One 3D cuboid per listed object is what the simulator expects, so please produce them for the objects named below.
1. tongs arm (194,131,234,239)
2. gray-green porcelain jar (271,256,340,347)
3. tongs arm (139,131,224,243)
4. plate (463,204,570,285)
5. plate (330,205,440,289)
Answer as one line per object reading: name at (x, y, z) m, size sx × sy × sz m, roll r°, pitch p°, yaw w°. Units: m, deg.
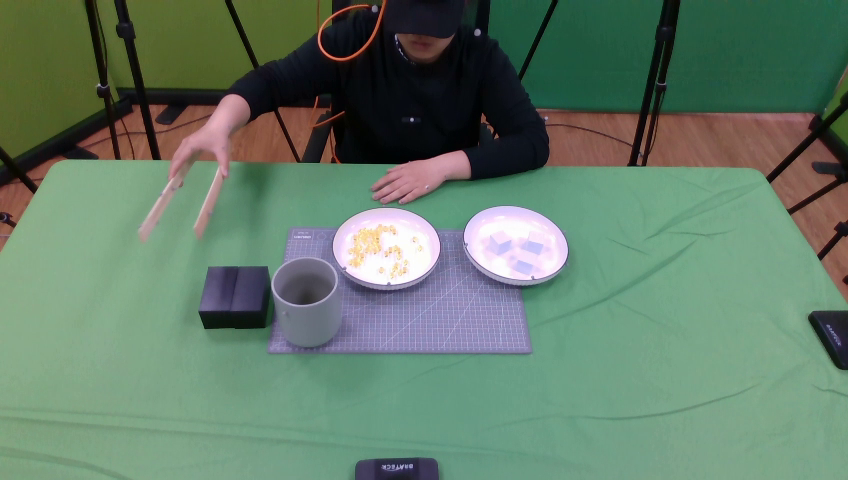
tongs arm at (-0.396, -0.117, 1.146) m, size 0.028 × 0.028 × 0.385 m, roll -11°, pitch 35°, yaw -1°
gray-green porcelain jar at (-0.193, 0.107, 1.004) m, size 0.106 × 0.127 × 0.105 m, roll 2°, pitch 46°, yaw -2°
tongs arm at (-0.448, -0.114, 1.145) m, size 0.051 × 0.026 × 0.382 m, roll -6°, pitch 34°, yaw 1°
plate at (0.178, 0.011, 1.184) m, size 0.209 × 0.038 × 0.208 m, roll 3°, pitch 46°, yaw -3°
plate at (-0.074, 0.017, 1.160) m, size 0.208 × 0.039 × 0.206 m, roll 2°, pitch 46°, yaw -2°
